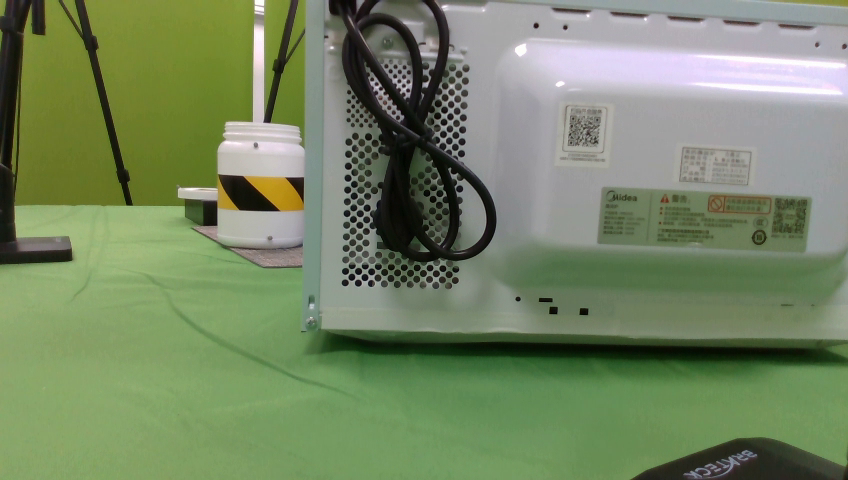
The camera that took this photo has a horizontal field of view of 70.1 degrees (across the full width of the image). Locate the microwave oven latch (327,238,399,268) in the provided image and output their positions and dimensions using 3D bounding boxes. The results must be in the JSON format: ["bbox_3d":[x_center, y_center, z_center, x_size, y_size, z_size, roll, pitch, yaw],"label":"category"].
[{"bbox_3d":[-0.069,0.015,0.694,0.079,0.029,0.030,3,7,-3],"label":"microwave oven latch"}]

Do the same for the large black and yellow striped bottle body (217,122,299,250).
[{"bbox_3d":[-0.250,-0.084,0.931,0.131,0.184,0.130,2,7,0],"label":"large black and yellow striped bottle body"}]

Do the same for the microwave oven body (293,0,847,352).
[{"bbox_3d":[0.122,-0.055,0.550,0.442,0.260,0.325,3,7,-5],"label":"microwave oven body"}]

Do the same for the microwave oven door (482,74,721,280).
[{"bbox_3d":[0.221,-0.093,0.843,0.039,0.243,0.354,-3,9,-38],"label":"microwave oven door"}]

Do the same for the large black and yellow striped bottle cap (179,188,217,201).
[{"bbox_3d":[-0.434,-0.093,1.226,0.115,0.019,0.115,3,9,0],"label":"large black and yellow striped bottle cap"}]

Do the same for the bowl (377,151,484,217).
[{"bbox_3d":[0.005,-0.075,0.851,0.151,0.077,0.151,7,3,0],"label":"bowl"}]
